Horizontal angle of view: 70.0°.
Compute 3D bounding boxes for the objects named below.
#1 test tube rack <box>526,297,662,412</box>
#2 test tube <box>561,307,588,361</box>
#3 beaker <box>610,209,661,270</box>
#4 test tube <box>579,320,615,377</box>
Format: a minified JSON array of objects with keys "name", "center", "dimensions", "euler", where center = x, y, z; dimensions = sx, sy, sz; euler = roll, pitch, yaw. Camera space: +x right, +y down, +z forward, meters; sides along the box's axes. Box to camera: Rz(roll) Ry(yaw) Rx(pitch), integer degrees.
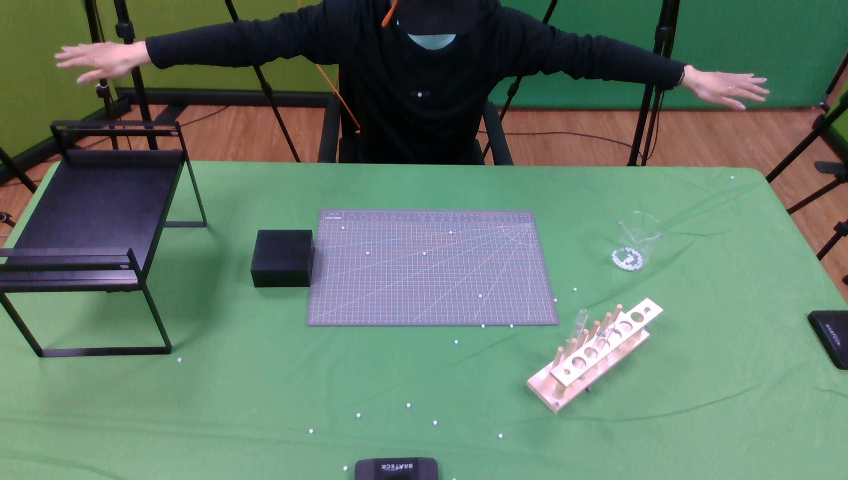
[{"name":"test tube rack","center":[0.284,0.176,1.007],"dimensions":[0.242,0.085,0.066],"euler":[-28,54,-27]},{"name":"test tube","center":[0.239,0.153,0.964],"dimensions":[0.017,0.151,0.017],"euler":[1,48,0]},{"name":"beaker","center":[0.404,0.005,1.170],"dimensions":[0.074,0.101,0.083],"euler":[20,49,15]},{"name":"test tube","center":[0.265,0.171,0.941],"dimensions":[0.017,0.151,0.017],"euler":[4,49,-4]}]
